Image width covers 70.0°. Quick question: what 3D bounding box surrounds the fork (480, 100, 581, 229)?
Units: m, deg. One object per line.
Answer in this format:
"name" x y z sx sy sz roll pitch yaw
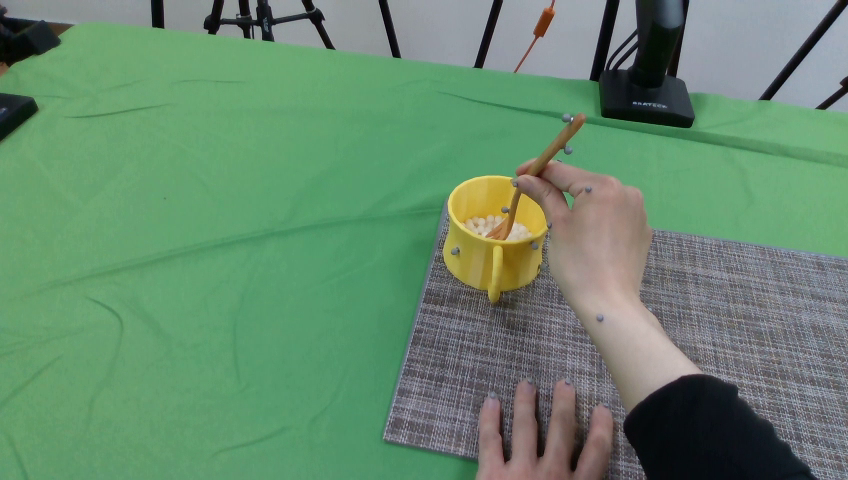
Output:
"fork" 0.081 -0.051 0.508 0.018 0.208 0.028 19 62 -2

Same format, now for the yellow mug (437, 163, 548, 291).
"yellow mug" 0.063 -0.009 0.574 0.100 0.064 0.129 5 45 1
